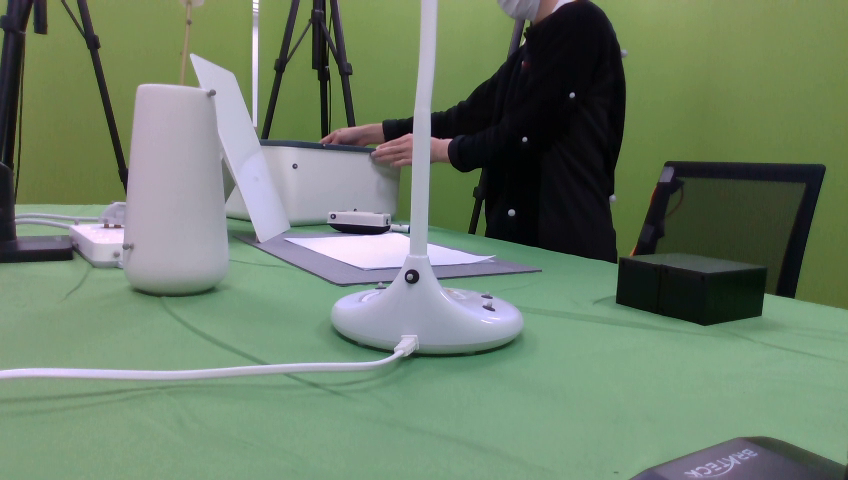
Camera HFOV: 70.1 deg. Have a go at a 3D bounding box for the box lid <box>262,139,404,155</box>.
[{"bbox_3d":[-0.250,-0.208,1.368,0.262,0.015,0.373,7,8,37],"label":"box lid"}]

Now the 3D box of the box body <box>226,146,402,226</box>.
[{"bbox_3d":[-0.253,-0.129,1.380,0.253,0.160,0.366,8,9,37],"label":"box body"}]

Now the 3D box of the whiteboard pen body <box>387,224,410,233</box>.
[{"bbox_3d":[-0.088,-0.026,1.214,0.140,0.017,0.017,5,8,18],"label":"whiteboard pen body"}]

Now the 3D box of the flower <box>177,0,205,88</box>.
[{"bbox_3d":[-0.243,-0.131,0.609,0.044,0.361,0.038,-5,-12,12],"label":"flower"}]

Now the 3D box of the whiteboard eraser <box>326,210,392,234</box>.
[{"bbox_3d":[-0.121,-0.034,1.131,0.112,0.042,0.056,4,8,13],"label":"whiteboard eraser"}]

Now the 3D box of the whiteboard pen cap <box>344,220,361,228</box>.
[{"bbox_3d":[-0.144,-0.032,1.230,0.033,0.018,0.018,6,8,17],"label":"whiteboard pen cap"}]

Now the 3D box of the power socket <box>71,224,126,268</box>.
[{"bbox_3d":[-0.409,0.004,0.793,0.072,0.032,0.225,-2,8,-37],"label":"power socket"}]

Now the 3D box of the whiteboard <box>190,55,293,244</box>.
[{"bbox_3d":[-0.362,-0.129,1.029,0.144,0.305,0.217,-18,7,3],"label":"whiteboard"}]

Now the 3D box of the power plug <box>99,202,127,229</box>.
[{"bbox_3d":[-0.415,-0.026,0.848,0.073,0.052,0.035,6,5,-28],"label":"power plug"}]

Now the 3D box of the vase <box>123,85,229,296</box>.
[{"bbox_3d":[-0.244,-0.047,0.598,0.098,0.200,0.098,3,9,0],"label":"vase"}]

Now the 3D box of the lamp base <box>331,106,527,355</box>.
[{"bbox_3d":[0.006,-0.012,0.478,0.161,0.180,0.179,2,10,2],"label":"lamp base"}]
